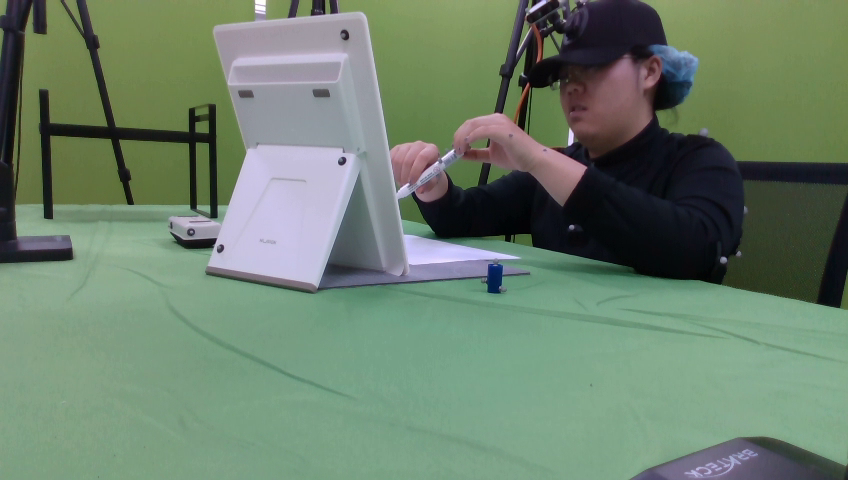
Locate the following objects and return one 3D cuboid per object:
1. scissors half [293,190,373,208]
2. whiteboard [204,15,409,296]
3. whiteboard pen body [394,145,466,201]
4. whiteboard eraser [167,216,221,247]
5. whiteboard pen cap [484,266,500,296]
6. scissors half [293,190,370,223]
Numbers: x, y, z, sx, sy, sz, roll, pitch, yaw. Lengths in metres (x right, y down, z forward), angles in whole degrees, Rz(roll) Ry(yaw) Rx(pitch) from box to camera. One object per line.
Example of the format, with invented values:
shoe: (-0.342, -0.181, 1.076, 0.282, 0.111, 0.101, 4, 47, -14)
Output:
scissors half: (-0.201, -0.096, 1.332, 0.175, 0.040, 0.013, 5, 19, -4)
whiteboard: (-0.166, -0.072, 0.669, 0.216, 0.305, 0.144, 8, 30, 30)
whiteboard pen body: (0.001, -0.094, 0.891, 0.141, 0.017, 0.017, -36, 8, 2)
whiteboard eraser: (-0.350, -0.013, 0.920, 0.056, 0.042, 0.112, 0, 7, -35)
whiteboard pen cap: (0.075, 0.046, 0.668, 0.018, 0.033, 0.018, 2, 6, 0)
scissors half: (-0.205, -0.077, 1.338, 0.175, 0.040, 0.013, 22, 12, -8)
